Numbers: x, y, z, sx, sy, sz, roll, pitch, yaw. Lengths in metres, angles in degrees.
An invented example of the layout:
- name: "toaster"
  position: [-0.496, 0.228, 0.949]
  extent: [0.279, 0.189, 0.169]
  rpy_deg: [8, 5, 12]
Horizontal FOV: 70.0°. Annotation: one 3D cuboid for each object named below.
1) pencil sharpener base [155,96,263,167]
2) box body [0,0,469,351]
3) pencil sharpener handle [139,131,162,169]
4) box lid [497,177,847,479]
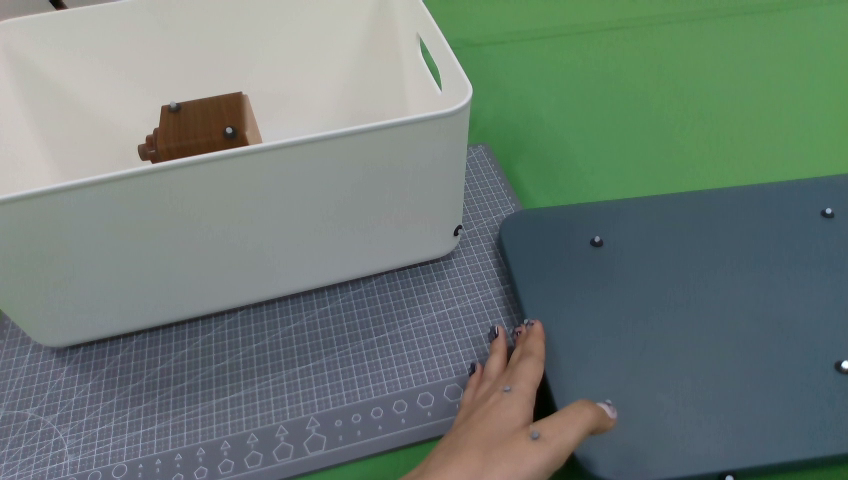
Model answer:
- name: "pencil sharpener base"
  position: [-0.176, -0.059, 0.522]
  extent: [0.077, 0.108, 0.060]
  rpy_deg: [-12, 48, -7]
- name: "box body"
  position: [-0.165, -0.078, 0.511]
  extent: [0.365, 0.162, 0.251]
  rpy_deg: [-13, 47, -9]
- name: "pencil sharpener handle"
  position: [-0.227, -0.058, 0.507]
  extent: [0.031, 0.068, 0.035]
  rpy_deg: [-12, 50, -7]
- name: "box lid"
  position: [0.255, 0.047, 0.460]
  extent: [0.372, 0.015, 0.260]
  rpy_deg: [-7, 41, -4]
